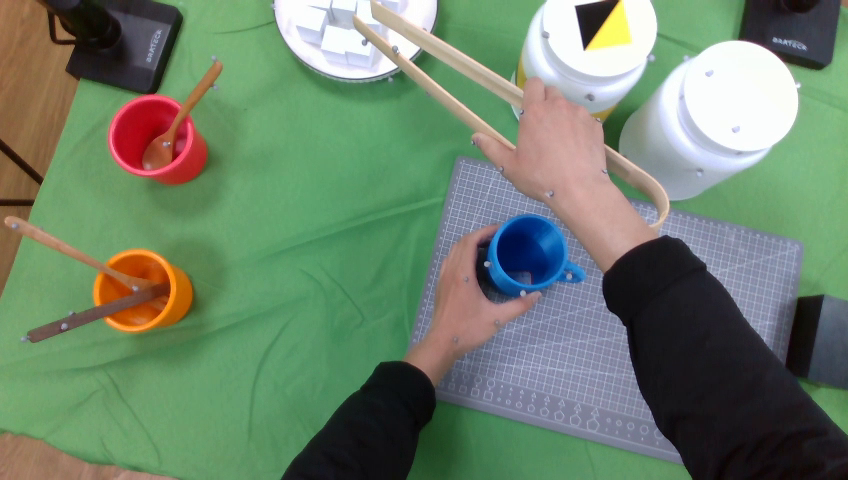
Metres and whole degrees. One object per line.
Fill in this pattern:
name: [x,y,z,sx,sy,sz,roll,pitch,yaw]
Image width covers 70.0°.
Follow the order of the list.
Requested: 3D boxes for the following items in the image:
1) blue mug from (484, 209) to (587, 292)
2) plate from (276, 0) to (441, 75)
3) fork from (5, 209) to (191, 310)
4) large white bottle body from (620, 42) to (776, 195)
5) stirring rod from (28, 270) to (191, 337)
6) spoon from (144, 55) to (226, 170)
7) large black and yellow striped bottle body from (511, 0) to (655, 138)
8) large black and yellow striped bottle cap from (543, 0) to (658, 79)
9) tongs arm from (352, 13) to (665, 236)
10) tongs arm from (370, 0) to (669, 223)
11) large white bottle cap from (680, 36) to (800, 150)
blue mug: [0.130,0.020,0.697,0.116,0.106,0.082,20,81,1]
plate: [-0.082,-0.306,0.774,0.208,0.039,0.207,0,82,-1]
fork: [-0.351,0.024,0.666,0.209,0.018,0.028,39,78,-39]
large white bottle body: [0.313,-0.133,0.685,0.131,0.185,0.130,0,82,-1]
stirring rod: [-0.338,0.066,0.666,0.176,0.006,0.014,-25,84,-47]
spoon: [-0.276,-0.143,0.694,0.194,0.022,0.041,-37,77,38]
large black and yellow striped bottle body: [0.177,-0.206,0.693,0.131,0.184,0.130,0,81,-1]
large black and yellow striped bottle cap: [0.178,-0.220,0.610,0.115,0.019,0.114,0,83,-2]
tongs arm: [0.067,-0.128,0.600,0.051,0.027,0.382,-39,68,-17]
tongs arm: [0.081,-0.141,0.607,0.385,0.028,0.028,39,66,19]
large white bottle cap: [0.314,-0.146,0.602,0.115,0.018,0.114,0,82,-2]
